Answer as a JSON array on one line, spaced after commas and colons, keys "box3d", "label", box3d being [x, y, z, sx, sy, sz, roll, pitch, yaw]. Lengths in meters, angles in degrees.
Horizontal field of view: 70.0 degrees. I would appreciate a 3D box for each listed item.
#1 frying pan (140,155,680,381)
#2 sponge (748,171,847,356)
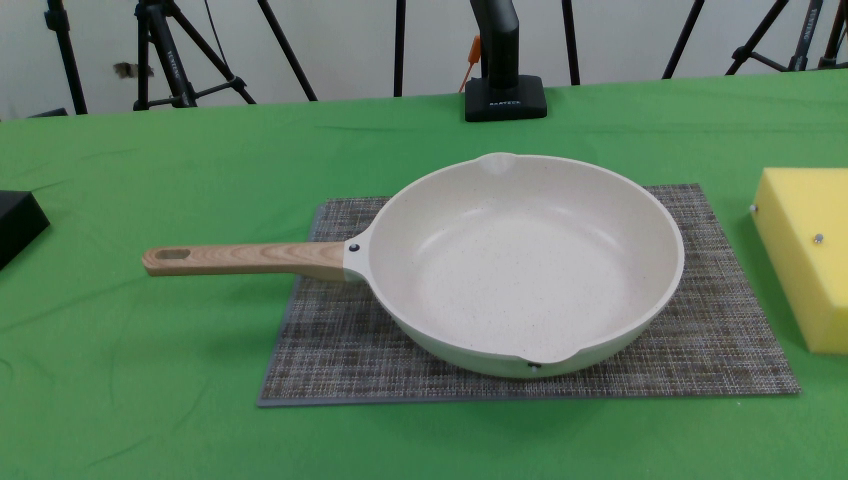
[{"box3d": [-0.016, 0.020, 0.578, 0.488, 0.103, 0.303, 1, 38, -3], "label": "frying pan"}, {"box3d": [0.398, 0.015, 0.567, 0.118, 0.061, 0.205, 1, 39, 9], "label": "sponge"}]
